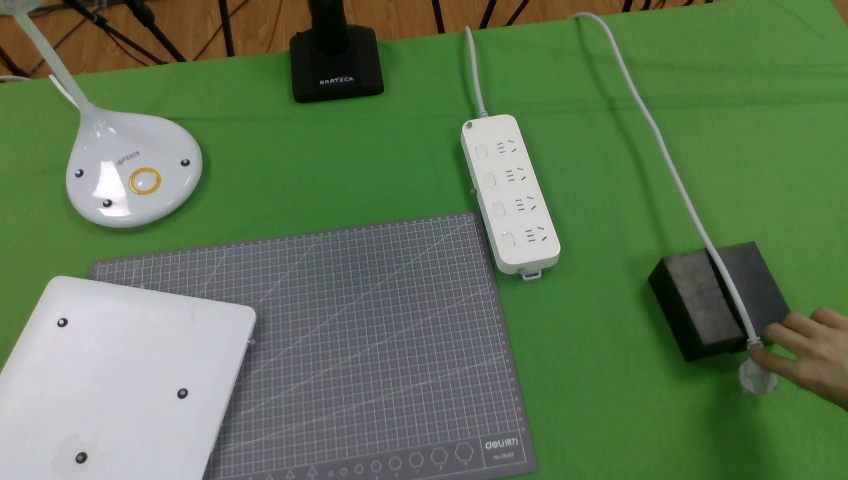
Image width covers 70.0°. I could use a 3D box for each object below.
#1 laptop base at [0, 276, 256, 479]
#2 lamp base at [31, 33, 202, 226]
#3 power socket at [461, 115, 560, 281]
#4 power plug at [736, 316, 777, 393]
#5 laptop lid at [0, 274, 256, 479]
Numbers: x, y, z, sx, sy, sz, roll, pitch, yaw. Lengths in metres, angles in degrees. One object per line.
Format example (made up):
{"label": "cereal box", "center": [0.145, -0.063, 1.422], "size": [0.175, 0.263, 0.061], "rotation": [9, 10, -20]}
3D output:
{"label": "laptop base", "center": [-0.324, 0.211, 0.584], "size": [0.235, 0.023, 0.351], "rotation": [10, 62, 2]}
{"label": "lamp base", "center": [-0.363, -0.130, 0.676], "size": [0.178, 0.182, 0.160], "rotation": [36, 67, 22]}
{"label": "power socket", "center": [0.099, -0.059, 0.720], "size": [0.072, 0.033, 0.224], "rotation": [-9, 62, -6]}
{"label": "power plug", "center": [0.334, 0.116, 0.606], "size": [0.035, 0.053, 0.072], "rotation": [5, 77, 17]}
{"label": "laptop lid", "center": [-0.321, 0.205, 0.574], "size": [0.241, 0.013, 0.354], "rotation": [11, 62, 4]}
